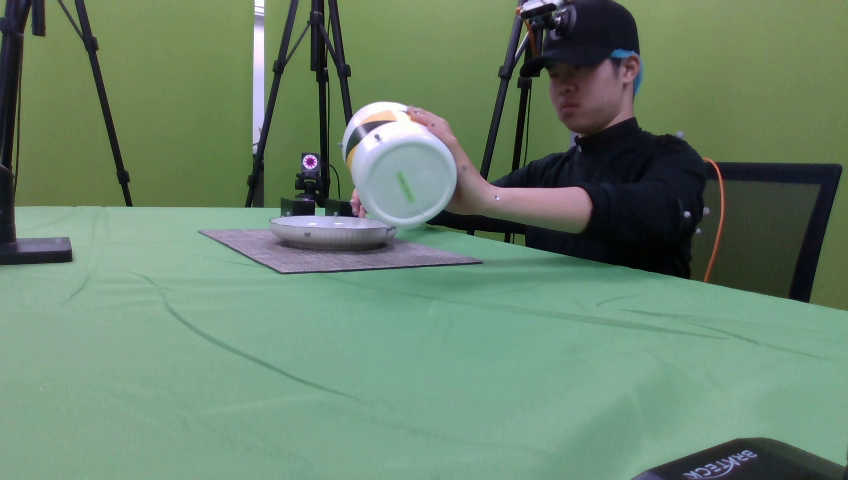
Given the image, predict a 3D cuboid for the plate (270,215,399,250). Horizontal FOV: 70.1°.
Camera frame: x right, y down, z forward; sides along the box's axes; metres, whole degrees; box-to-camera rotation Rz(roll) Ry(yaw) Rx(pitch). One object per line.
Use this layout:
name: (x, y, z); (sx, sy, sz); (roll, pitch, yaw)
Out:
plate: (-0.145, -0.013, 0.992); (0.208, 0.039, 0.207); (2, 7, 0)

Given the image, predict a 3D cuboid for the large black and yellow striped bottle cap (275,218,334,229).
large black and yellow striped bottle cap: (-0.236, -0.033, 1.197); (0.115, 0.019, 0.115); (2, 3, 0)

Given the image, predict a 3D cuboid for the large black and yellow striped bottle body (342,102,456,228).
large black and yellow striped bottle body: (-0.042, -0.112, 0.831); (0.131, 0.130, 0.183); (0, 28, -17)
